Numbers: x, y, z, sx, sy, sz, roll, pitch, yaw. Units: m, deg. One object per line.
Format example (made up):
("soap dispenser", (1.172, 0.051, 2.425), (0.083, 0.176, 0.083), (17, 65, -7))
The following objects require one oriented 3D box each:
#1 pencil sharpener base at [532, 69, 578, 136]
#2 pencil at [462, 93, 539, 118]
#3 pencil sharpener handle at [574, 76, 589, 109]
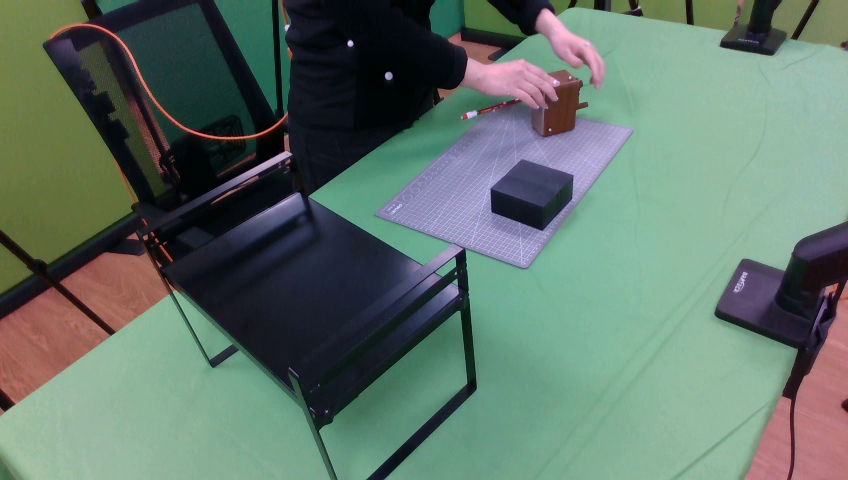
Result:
("pencil sharpener base", (0.256, -0.268, 1.179), (0.077, 0.107, 0.061), (-15, 41, -8))
("pencil", (0.164, -0.261, 1.150), (0.194, 0.012, 0.012), (-17, 41, -7))
("pencil sharpener handle", (0.305, -0.289, 1.177), (0.031, 0.068, 0.035), (-15, 32, -8))
